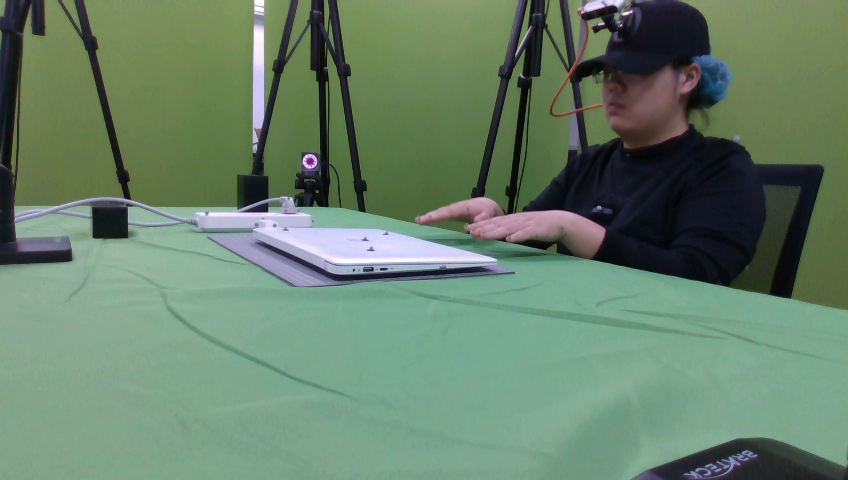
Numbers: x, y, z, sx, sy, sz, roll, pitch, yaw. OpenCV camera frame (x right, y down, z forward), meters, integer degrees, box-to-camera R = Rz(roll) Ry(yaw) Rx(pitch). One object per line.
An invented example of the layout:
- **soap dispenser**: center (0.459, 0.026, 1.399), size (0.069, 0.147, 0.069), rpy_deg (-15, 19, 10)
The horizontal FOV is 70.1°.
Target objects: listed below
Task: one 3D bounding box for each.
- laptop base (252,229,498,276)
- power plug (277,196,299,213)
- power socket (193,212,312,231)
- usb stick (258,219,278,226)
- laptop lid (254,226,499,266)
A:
- **laptop base**: center (-0.089, 0.016, 0.876), size (0.237, 0.023, 0.352), rpy_deg (2, 6, -32)
- **power plug**: center (-0.274, -0.062, 1.217), size (0.035, 0.052, 0.072), rpy_deg (0, 5, -21)
- **power socket**: center (-0.322, -0.037, 1.153), size (0.228, 0.032, 0.072), rpy_deg (-2, 7, -33)
- **usb stick**: center (-0.255, -0.019, 0.996), size (0.021, 0.027, 0.059), rpy_deg (-2, 12, -29)
- **laptop lid**: center (-0.086, 0.004, 0.876), size (0.243, 0.013, 0.355), rpy_deg (1, 7, -30)
